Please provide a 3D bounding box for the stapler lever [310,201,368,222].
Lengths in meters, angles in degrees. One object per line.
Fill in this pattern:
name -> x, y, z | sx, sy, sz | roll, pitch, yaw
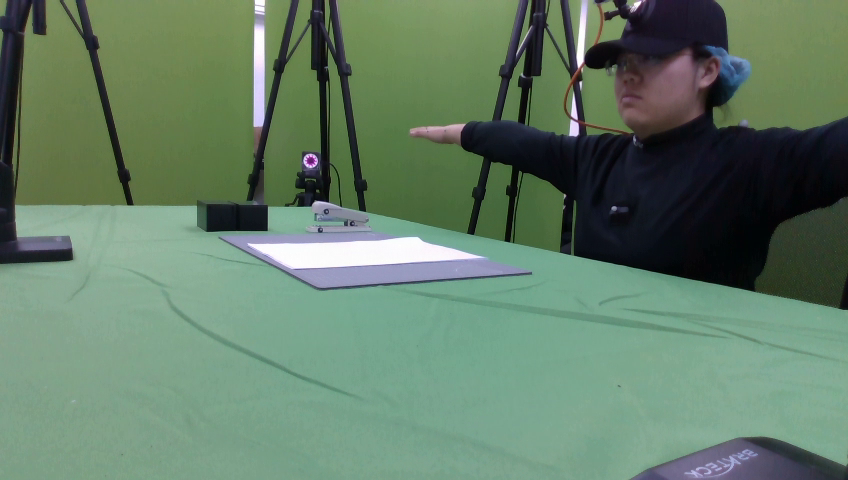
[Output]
stapler lever -> -0.166, -0.055, 1.184 | 0.119, 0.040, 0.026 | 0, 9, -33

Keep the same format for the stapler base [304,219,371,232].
stapler base -> -0.169, -0.030, 1.186 | 0.131, 0.024, 0.041 | 0, 9, -33
